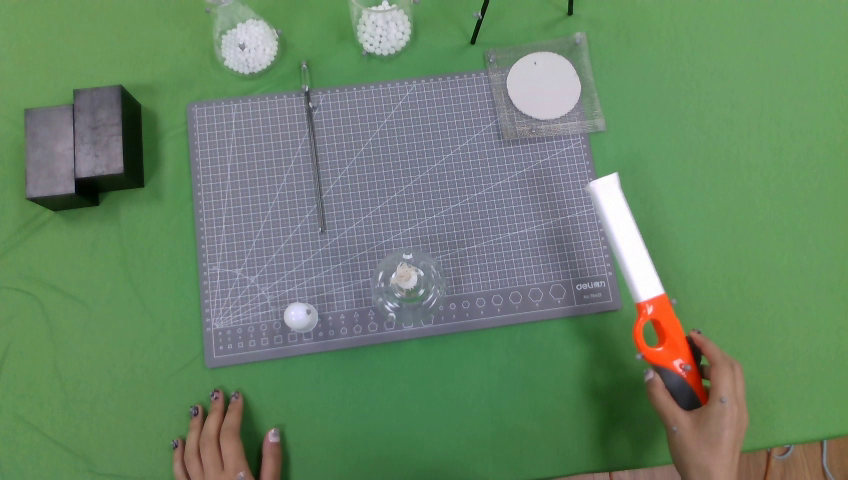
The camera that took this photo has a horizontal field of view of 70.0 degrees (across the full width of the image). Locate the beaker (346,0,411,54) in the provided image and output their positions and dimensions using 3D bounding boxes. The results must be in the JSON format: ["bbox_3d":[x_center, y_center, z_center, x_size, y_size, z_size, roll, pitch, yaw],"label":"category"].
[{"bbox_3d":[-0.050,-0.263,0.672,0.074,0.100,0.083,-5,78,-3],"label":"beaker"}]

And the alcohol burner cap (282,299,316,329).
[{"bbox_3d":[-0.132,0.076,0.631,0.034,0.048,0.033,0,79,-2],"label":"alcohol burner cap"}]

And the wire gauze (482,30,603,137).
[{"bbox_3d":[0.138,-0.182,0.707,0.125,0.011,0.121,-8,80,-4],"label":"wire gauze"}]

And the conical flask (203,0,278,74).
[{"bbox_3d":[-0.206,-0.237,0.650,0.075,0.122,0.075,0,78,-2],"label":"conical flask"}]

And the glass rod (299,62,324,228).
[{"bbox_3d":[-0.127,-0.109,0.682,0.008,0.008,0.199,-8,79,-4],"label":"glass rod"}]

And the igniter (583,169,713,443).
[{"bbox_3d":[0.221,0.064,0.596,0.057,0.025,0.276,-20,87,-9],"label":"igniter"}]

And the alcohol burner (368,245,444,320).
[{"bbox_3d":[-0.018,0.041,0.605,0.078,0.119,0.077,0,80,-2],"label":"alcohol burner"}]

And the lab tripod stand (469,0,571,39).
[{"bbox_3d":[0.105,-0.303,0.668,0.148,0.132,0.148,0,81,-2],"label":"lab tripod stand"}]
